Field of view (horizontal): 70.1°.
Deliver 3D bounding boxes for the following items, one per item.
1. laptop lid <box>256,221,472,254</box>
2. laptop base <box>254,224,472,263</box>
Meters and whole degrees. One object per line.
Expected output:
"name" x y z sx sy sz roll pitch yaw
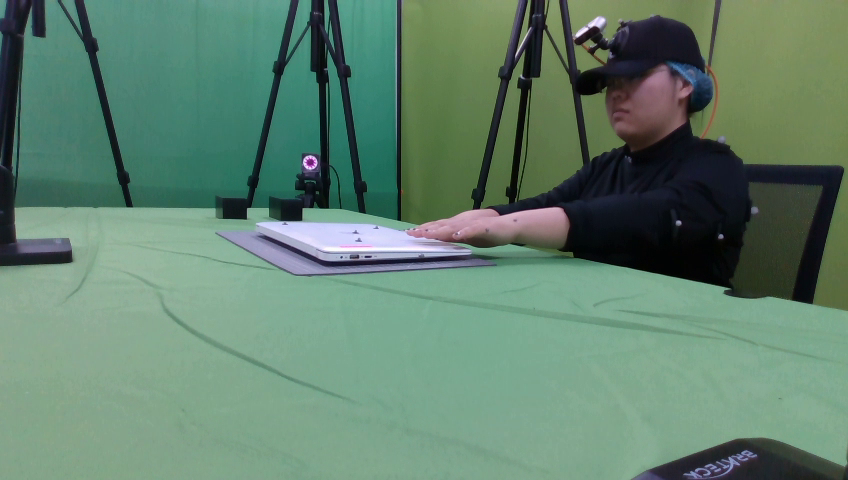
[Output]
"laptop lid" -0.112 -0.007 0.972 0.243 0.013 0.355 1 7 -29
"laptop base" -0.115 0.005 0.972 0.237 0.023 0.352 2 6 -31
